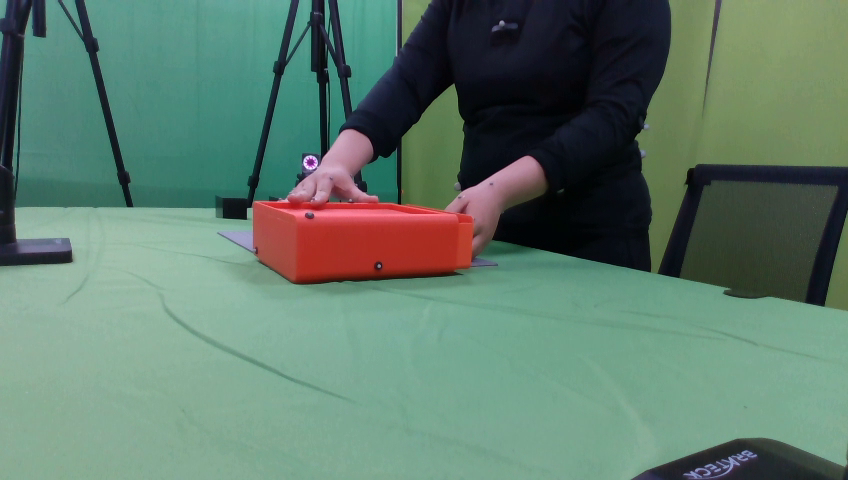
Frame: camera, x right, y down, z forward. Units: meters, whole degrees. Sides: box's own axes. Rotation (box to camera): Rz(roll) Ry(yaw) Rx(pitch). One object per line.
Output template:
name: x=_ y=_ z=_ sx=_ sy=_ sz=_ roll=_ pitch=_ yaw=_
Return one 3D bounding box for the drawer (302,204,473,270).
drawer: x=-0.074 y=-0.005 z=0.802 sx=0.213 sy=0.073 sz=0.193 roll=-3 pitch=10 yaw=-29

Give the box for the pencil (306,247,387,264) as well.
pencil: x=-0.095 y=0.019 z=0.802 sx=0.012 sy=0.012 sz=0.195 roll=6 pitch=6 yaw=25

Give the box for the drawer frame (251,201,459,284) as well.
drawer frame: x=-0.095 y=-0.005 z=0.788 sx=0.215 sy=0.082 sz=0.200 roll=-2 pitch=10 yaw=-30
